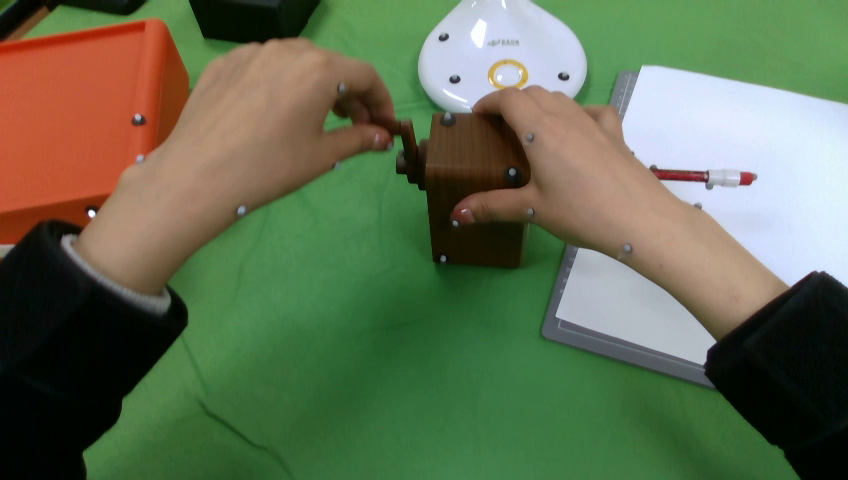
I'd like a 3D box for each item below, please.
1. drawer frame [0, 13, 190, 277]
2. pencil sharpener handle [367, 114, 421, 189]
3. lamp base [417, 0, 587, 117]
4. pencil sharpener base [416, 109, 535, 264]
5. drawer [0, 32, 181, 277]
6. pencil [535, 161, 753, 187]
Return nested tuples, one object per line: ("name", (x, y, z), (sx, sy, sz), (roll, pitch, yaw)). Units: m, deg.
("drawer frame", (-0.307, -0.080, 0.499), (0.202, 0.083, 0.211), (-12, 54, -4))
("pencil sharpener handle", (-0.018, -0.061, 0.400), (0.030, 0.068, 0.035), (2, 64, 6))
("lamp base", (0.067, -0.226, 0.523), (0.161, 0.182, 0.177), (-10, 52, -4))
("pencil sharpener base", (0.036, -0.035, 0.433), (0.076, 0.108, 0.061), (2, 55, 6))
("drawer", (-0.304, -0.077, 0.499), (0.194, 0.074, 0.209), (-11, 54, -4))
("pencil", (0.117, -0.046, 0.403), (0.194, 0.012, 0.012), (4, 54, 4))
